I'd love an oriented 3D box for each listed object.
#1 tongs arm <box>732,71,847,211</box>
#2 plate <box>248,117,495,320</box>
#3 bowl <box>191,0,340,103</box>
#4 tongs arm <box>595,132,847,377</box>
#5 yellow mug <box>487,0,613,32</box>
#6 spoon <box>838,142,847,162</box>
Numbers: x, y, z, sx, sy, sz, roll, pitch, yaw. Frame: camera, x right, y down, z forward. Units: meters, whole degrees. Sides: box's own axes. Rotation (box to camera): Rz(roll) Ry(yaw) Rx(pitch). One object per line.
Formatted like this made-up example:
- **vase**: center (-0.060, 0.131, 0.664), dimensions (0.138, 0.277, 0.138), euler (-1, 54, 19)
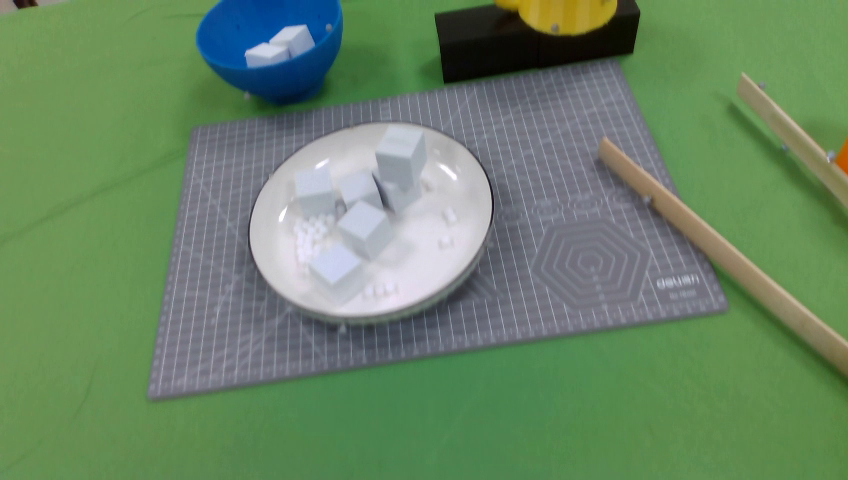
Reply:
- **tongs arm**: center (0.337, 0.003, 0.459), dimensions (0.051, 0.027, 0.380), euler (-20, 57, -8)
- **plate**: center (-0.043, -0.020, 0.519), dimensions (0.207, 0.039, 0.205), euler (-3, 55, 5)
- **bowl**: center (-0.155, -0.199, 0.637), dimensions (0.151, 0.077, 0.150), euler (-4, 55, 6)
- **tongs arm**: center (0.263, 0.037, 0.446), dimensions (0.028, 0.028, 0.383), euler (-29, 58, -18)
- **yellow mug**: center (0.120, -0.256, 0.587), dimensions (0.131, 0.064, 0.099), euler (-6, 54, 4)
- **spoon**: center (0.407, -0.081, 0.438), dimensions (0.041, 0.193, 0.022), euler (-44, 104, -24)
